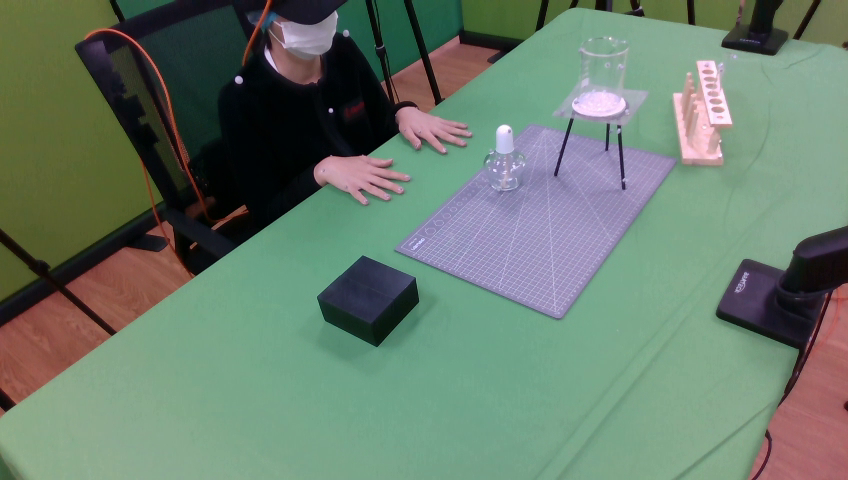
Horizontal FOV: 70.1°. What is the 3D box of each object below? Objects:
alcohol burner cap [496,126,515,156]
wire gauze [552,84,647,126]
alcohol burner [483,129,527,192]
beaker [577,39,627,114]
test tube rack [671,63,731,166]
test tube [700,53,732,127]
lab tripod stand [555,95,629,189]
[{"bbox_3d":[0.138,-0.172,1.028,0.034,0.048,0.033,-5,38,5],"label":"alcohol burner cap"},{"bbox_3d":[0.293,-0.224,1.004,0.120,0.011,0.125,19,43,26],"label":"wire gauze"},{"bbox_3d":[0.141,-0.144,1.050,0.078,0.119,0.077,-4,42,4],"label":"alcohol burner"},{"bbox_3d":[0.286,-0.264,0.976,0.073,0.101,0.084,25,49,33],"label":"beaker"},{"bbox_3d":[0.513,-0.241,1.132,0.066,0.085,0.242,4,41,14],"label":"test tube rack"},{"bbox_3d":[0.520,-0.265,1.081,0.017,0.151,0.017,-3,47,3],"label":"test tube"},{"bbox_3d":[0.300,-0.174,1.045,0.148,0.132,0.147,-5,38,5],"label":"lab tripod stand"}]
